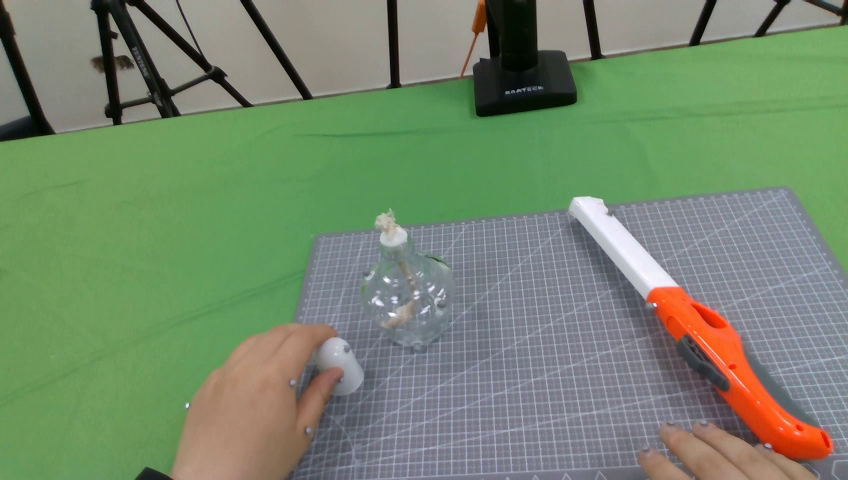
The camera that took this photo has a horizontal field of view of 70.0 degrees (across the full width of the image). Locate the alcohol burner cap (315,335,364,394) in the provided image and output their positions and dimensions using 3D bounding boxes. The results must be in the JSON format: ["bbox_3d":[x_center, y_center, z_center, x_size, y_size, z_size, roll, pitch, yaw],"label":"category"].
[{"bbox_3d":[-0.067,0.092,0.463,0.034,0.048,0.033,-5,44,6],"label":"alcohol burner cap"}]

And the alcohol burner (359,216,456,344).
[{"bbox_3d":[-0.015,0.026,0.468,0.078,0.120,0.077,-5,44,5],"label":"alcohol burner"}]

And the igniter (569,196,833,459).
[{"bbox_3d":[0.188,0.047,0.458,0.057,0.025,0.273,-1,37,-21],"label":"igniter"}]
